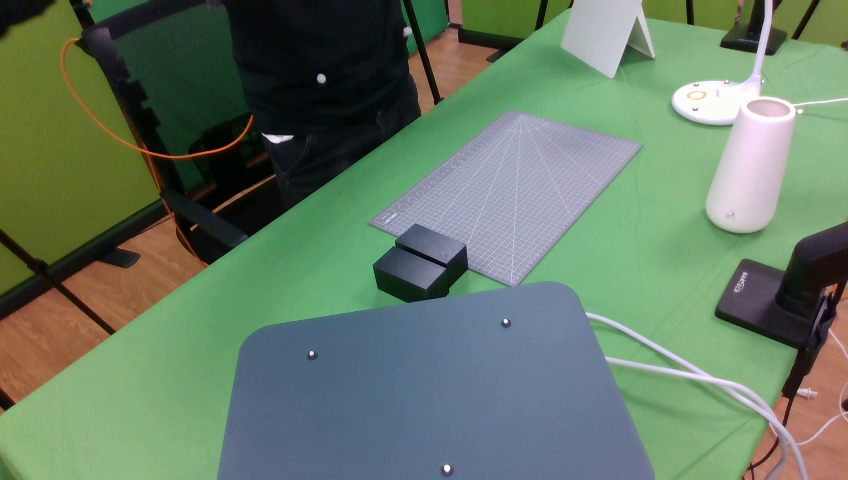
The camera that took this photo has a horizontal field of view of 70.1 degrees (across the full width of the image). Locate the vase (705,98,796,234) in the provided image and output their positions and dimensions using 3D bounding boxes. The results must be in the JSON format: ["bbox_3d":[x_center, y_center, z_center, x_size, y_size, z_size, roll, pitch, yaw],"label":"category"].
[{"bbox_3d":[0.480,-0.104,0.889,0.098,0.201,0.097,-4,42,4],"label":"vase"}]

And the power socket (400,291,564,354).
[{"bbox_3d":[0.079,0.111,0.823,0.227,0.033,0.072,-5,41,1],"label":"power socket"}]

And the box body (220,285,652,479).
[{"bbox_3d":[0.005,0.211,0.616,0.364,0.161,0.252,-9,40,-2],"label":"box body"}]

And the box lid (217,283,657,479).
[{"bbox_3d":[-0.004,0.155,0.568,0.372,0.015,0.261,-8,39,-2],"label":"box lid"}]

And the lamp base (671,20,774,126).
[{"bbox_3d":[0.581,-0.332,1.154,0.179,0.181,0.160,2,41,7],"label":"lamp base"}]

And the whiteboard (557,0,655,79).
[{"bbox_3d":[0.462,-0.542,1.367,0.145,0.306,0.215,-3,36,-25],"label":"whiteboard"}]

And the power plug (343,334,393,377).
[{"bbox_3d":[-0.075,0.156,0.807,0.073,0.035,0.052,32,37,-13],"label":"power plug"}]
